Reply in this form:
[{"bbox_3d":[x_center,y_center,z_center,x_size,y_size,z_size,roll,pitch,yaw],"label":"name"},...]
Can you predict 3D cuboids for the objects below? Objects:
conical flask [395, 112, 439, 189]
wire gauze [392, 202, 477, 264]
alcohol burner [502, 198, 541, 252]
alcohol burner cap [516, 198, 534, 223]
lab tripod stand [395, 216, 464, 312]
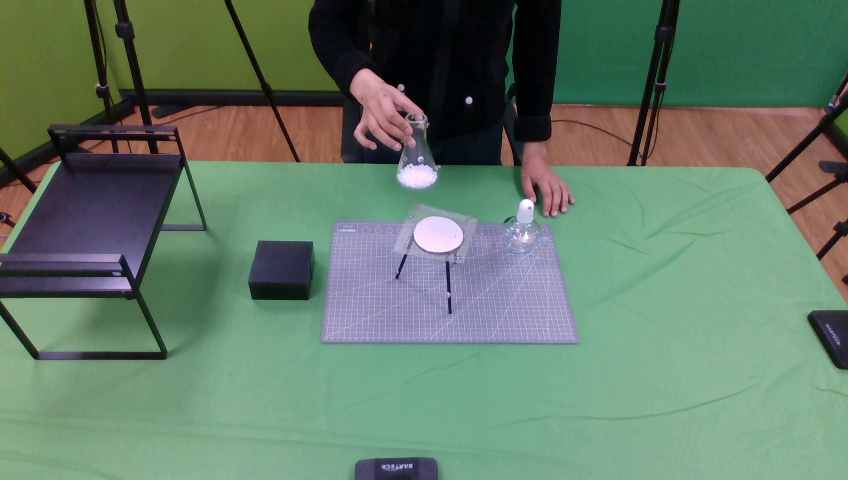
[{"bbox_3d":[-0.012,-0.153,1.021,0.075,0.122,0.075,0,40,0],"label":"conical flask"},{"bbox_3d":[0.021,-0.012,1.037,0.121,0.011,0.124,13,47,8],"label":"wire gauze"},{"bbox_3d":[0.192,-0.034,1.178,0.078,0.119,0.077,3,45,-2],"label":"alcohol burner"},{"bbox_3d":[0.194,-0.059,1.152,0.034,0.048,0.033,0,50,1],"label":"alcohol burner cap"},{"bbox_3d":[0.023,0.037,1.084,0.148,0.132,0.147,4,46,-4],"label":"lab tripod stand"}]
